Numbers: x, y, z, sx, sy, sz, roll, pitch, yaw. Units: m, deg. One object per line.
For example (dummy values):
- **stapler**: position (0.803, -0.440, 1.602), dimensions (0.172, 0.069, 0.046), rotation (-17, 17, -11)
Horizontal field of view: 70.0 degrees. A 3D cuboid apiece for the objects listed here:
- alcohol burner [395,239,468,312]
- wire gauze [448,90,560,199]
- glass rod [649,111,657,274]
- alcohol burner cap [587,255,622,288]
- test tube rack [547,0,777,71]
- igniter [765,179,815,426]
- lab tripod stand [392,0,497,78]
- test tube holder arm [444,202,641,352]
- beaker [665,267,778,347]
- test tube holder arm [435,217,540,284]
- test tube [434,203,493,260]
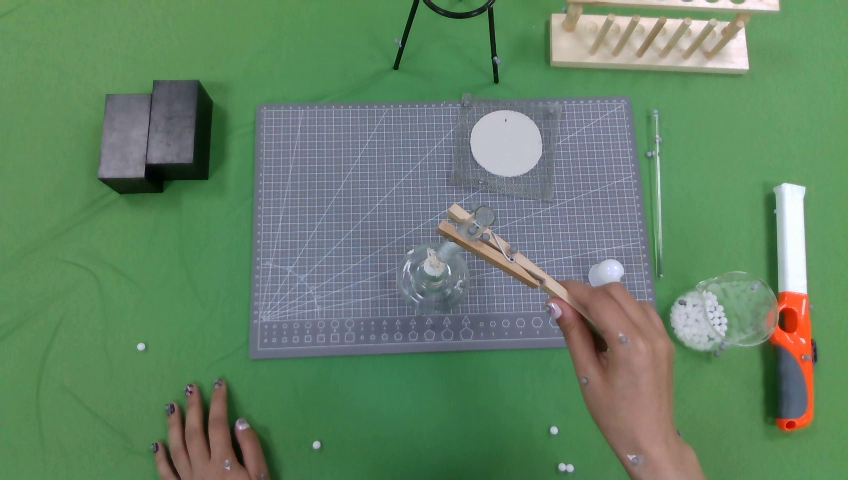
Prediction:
- **alcohol burner**: position (0.008, 0.033, 0.624), dimensions (0.078, 0.119, 0.077), rotation (0, 75, 0)
- **wire gauze**: position (0.096, -0.116, 0.717), dimensions (0.125, 0.011, 0.121), rotation (9, 77, 0)
- **glass rod**: position (0.269, -0.058, 0.710), dimensions (0.008, 0.008, 0.199), rotation (4, 79, -1)
- **alcohol burner cap**: position (0.201, 0.032, 0.667), dimensions (0.034, 0.048, 0.033), rotation (0, 76, -1)
- **test tube rack**: position (0.276, -0.256, 0.719), dimensions (0.242, 0.085, 0.066), rotation (2, 76, -1)
- **igniter**: position (0.406, 0.066, 0.675), dimensions (0.057, 0.025, 0.275), rotation (9, 76, -10)
- **lab tripod stand**: position (0.030, -0.255, 0.686), dimensions (0.148, 0.132, 0.147), rotation (0, 78, -1)
- **test tube holder arm**: position (0.089, 0.028, 0.456), dimensions (0.178, 0.015, 0.013), rotation (35, 80, 0)
- **beaker**: position (0.302, 0.073, 0.634), dimensions (0.084, 0.101, 0.074), rotation (29, 77, 7)
- **test tube holder arm**: position (0.048, 0.008, 0.455), dimensions (0.088, 0.015, 0.010), rotation (28, 80, -1)
- **test tube**: position (0.028, -0.003, 0.476), dimensions (0.017, 0.150, 0.017), rotation (2, 78, -9)
